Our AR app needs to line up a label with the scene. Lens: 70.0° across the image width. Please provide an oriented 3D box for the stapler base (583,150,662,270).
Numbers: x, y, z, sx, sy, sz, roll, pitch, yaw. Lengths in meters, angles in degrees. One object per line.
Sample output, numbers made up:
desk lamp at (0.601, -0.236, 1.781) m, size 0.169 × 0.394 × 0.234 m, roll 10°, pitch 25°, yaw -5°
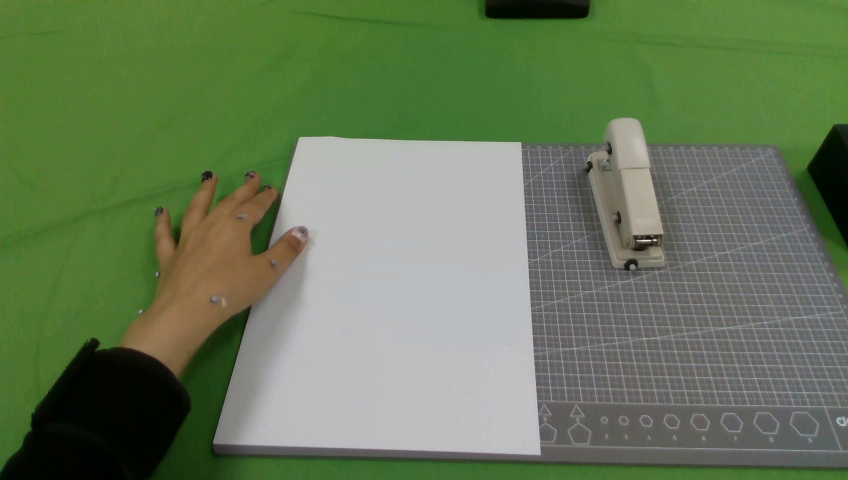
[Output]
stapler base at (0.165, -0.034, 0.507) m, size 0.041 × 0.024 × 0.129 m, roll -3°, pitch 53°, yaw 2°

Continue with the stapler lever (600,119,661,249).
stapler lever at (0.165, -0.048, 0.486) m, size 0.027 × 0.040 × 0.117 m, roll -3°, pitch 53°, yaw 2°
